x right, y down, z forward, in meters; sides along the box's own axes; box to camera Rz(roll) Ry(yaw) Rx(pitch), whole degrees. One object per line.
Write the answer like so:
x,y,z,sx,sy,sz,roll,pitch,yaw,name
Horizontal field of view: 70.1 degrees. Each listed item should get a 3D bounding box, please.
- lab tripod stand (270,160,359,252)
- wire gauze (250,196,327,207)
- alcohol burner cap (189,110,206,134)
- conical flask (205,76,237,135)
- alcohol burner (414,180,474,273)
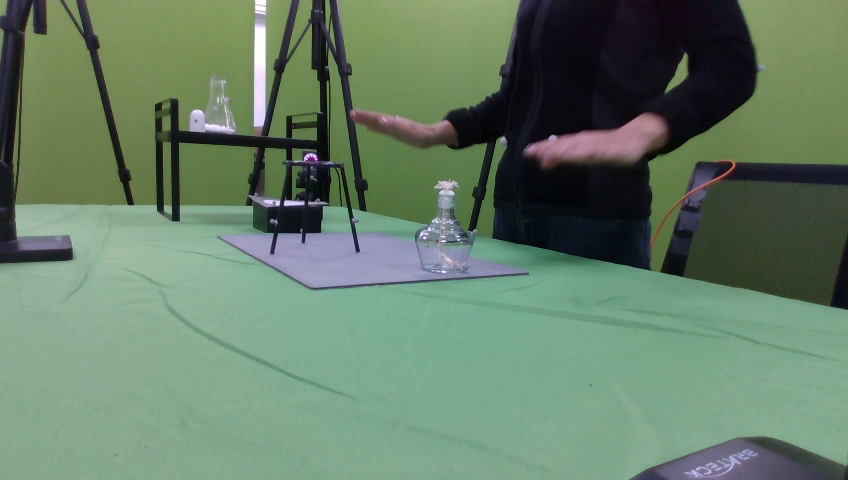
-0.166,-0.051,0.892,0.148,0.131,0.148,3,9,0,lab tripod stand
-0.259,-0.073,1.150,0.122,0.011,0.124,0,8,-32,wire gauze
-0.464,-0.242,1.240,0.034,0.048,0.034,5,7,0,alcohol burner cap
-0.443,-0.290,1.309,0.075,0.122,0.075,3,7,0,conical flask
0.026,-0.017,0.773,0.078,0.119,0.078,4,6,0,alcohol burner
